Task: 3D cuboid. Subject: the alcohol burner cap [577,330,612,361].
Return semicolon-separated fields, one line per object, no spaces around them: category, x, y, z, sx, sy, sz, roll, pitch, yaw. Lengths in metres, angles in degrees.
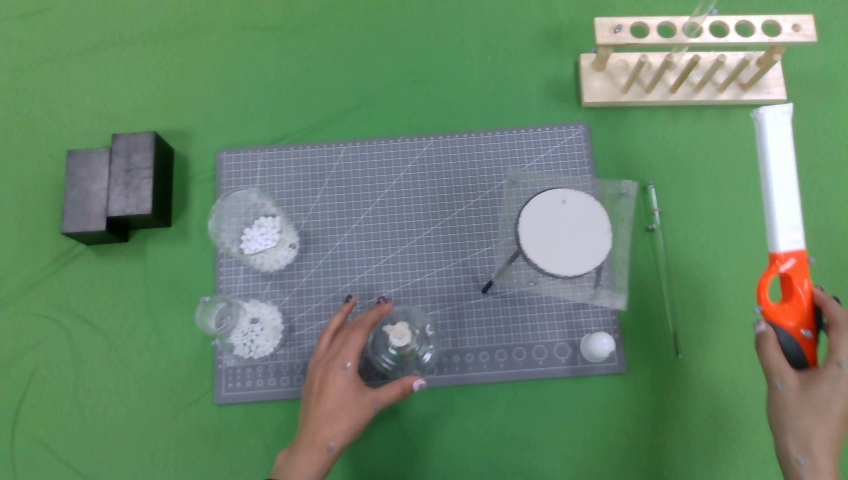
alcohol burner cap;0.185;0.111;0.648;0.034;0.048;0.033;0;75;1

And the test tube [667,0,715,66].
test tube;0.293;-0.235;0.665;0.017;0.151;0.017;-1;75;4

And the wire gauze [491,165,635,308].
wire gauze;0.130;-0.006;0.562;0.125;0.011;0.121;10;77;4

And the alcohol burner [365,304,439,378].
alcohol burner;-0.024;0.101;0.618;0.078;0.120;0.077;-1;75;3

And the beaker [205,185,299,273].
beaker;-0.178;-0.006;0.655;0.084;0.101;0.074;31;78;8

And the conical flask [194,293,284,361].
conical flask;-0.194;0.083;0.620;0.075;0.122;0.075;0;75;1

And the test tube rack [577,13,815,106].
test tube rack;0.311;-0.208;0.708;0.242;0.085;0.066;-1;75;1

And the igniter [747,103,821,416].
igniter;0.318;0.020;0.538;0.057;0.025;0.276;-8;94;-3

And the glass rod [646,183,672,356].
glass rod;0.267;0.031;0.688;0.008;0.008;0.199;-3;78;0

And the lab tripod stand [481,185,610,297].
lab tripod stand;0.128;0.010;0.628;0.148;0.132;0.147;0;77;2
